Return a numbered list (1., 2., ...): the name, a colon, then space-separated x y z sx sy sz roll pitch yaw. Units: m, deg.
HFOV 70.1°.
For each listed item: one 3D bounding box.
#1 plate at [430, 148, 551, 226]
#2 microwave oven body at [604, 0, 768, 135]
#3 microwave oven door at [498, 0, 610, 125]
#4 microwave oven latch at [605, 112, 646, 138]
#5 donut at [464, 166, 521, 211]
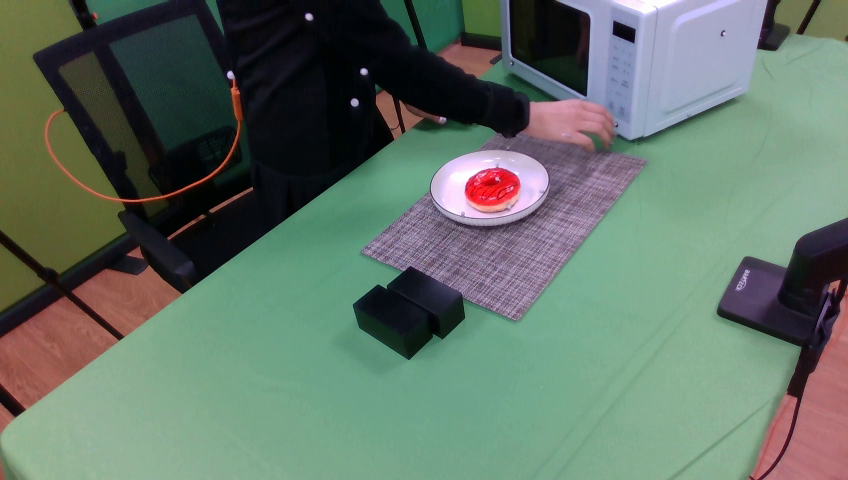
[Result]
1. plate: 0.114 -0.089 1.049 0.209 0.038 0.208 -5 40 5
2. microwave oven body: 0.410 -0.441 1.235 0.327 0.261 0.437 -25 42 -16
3. microwave oven door: 0.261 -0.410 1.219 0.039 0.245 0.352 -24 42 -17
4. microwave oven latch: 0.375 -0.217 1.130 0.030 0.029 0.078 -24 42 -16
5. donut: 0.117 -0.089 1.031 0.099 0.048 0.098 -7 41 7
